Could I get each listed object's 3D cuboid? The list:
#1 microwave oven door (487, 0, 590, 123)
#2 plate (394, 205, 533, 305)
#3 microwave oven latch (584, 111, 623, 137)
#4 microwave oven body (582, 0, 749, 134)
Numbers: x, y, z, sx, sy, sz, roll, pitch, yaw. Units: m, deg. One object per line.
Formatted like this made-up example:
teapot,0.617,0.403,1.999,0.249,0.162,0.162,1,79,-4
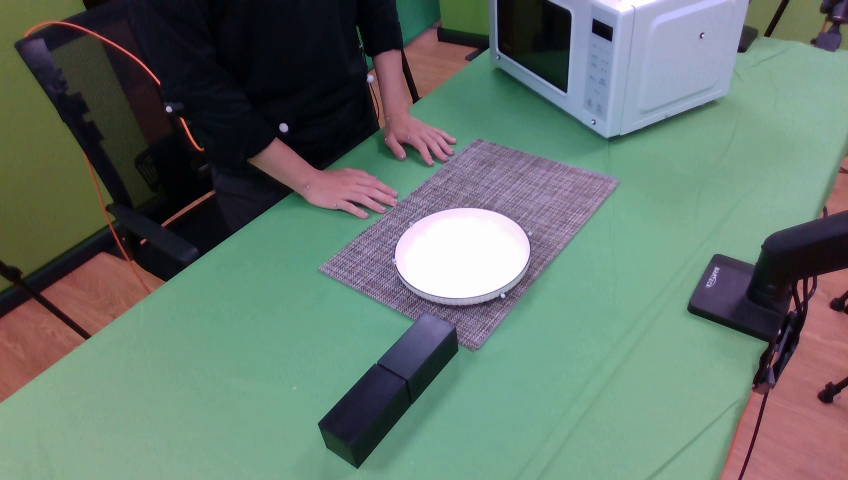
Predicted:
microwave oven door,0.232,-0.420,1.231,0.039,0.245,0.352,-22,43,-16
plate,0.059,0.025,0.915,0.207,0.039,0.206,-4,41,4
microwave oven latch,0.337,-0.222,1.142,0.030,0.029,0.078,-21,42,-14
microwave oven body,0.382,-0.444,1.246,0.327,0.261,0.437,-22,42,-16
